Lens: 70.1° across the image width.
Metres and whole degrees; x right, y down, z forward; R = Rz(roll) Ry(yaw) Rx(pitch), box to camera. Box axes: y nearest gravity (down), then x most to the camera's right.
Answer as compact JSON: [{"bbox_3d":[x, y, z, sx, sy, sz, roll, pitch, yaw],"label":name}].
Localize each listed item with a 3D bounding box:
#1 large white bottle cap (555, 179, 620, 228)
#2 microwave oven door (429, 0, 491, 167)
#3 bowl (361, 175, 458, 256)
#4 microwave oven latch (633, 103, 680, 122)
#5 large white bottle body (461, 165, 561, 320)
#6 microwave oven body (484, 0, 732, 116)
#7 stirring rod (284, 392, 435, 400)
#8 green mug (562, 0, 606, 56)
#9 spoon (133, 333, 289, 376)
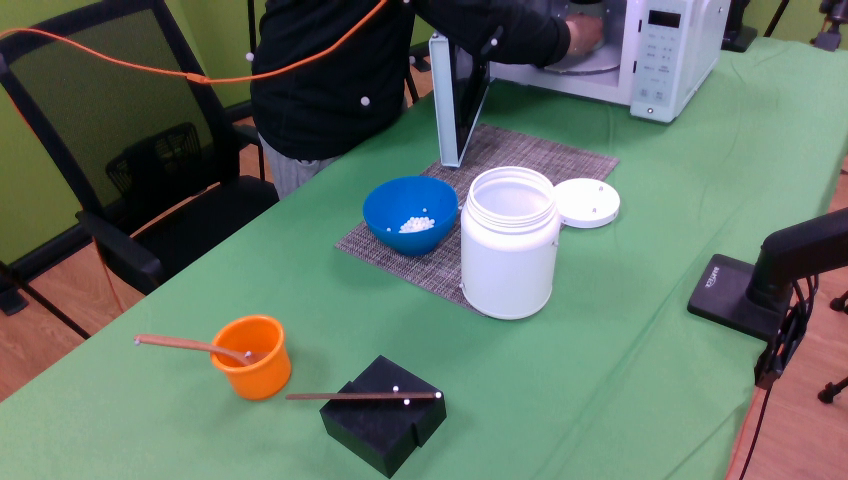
[{"bbox_3d":[0.265,-0.062,1.001,0.115,0.018,0.114,-4,41,4],"label":"large white bottle cap"},{"bbox_3d":[0.078,-0.340,1.160,0.039,0.245,0.355,5,42,15],"label":"microwave oven door"},{"bbox_3d":[-0.019,-0.028,0.955,0.151,0.077,0.150,-4,40,3],"label":"bowl"},{"bbox_3d":[0.443,-0.249,1.157,0.078,0.029,0.030,21,49,30],"label":"microwave oven latch"},{"bbox_3d":[0.115,0.004,0.816,0.130,0.185,0.130,-2,43,2],"label":"large white bottle body"},{"bbox_3d":[0.377,-0.462,1.267,0.438,0.261,0.327,21,49,30],"label":"microwave oven body"},{"bbox_3d":[-0.075,0.180,0.698,0.176,0.006,0.014,-2,6,7],"label":"stirring rod"},{"bbox_3d":[0.338,-0.449,1.292,0.092,0.105,0.125,6,50,21],"label":"green mug"},{"bbox_3d":[-0.257,0.137,0.747,0.021,0.195,0.041,-47,40,23],"label":"spoon"}]
